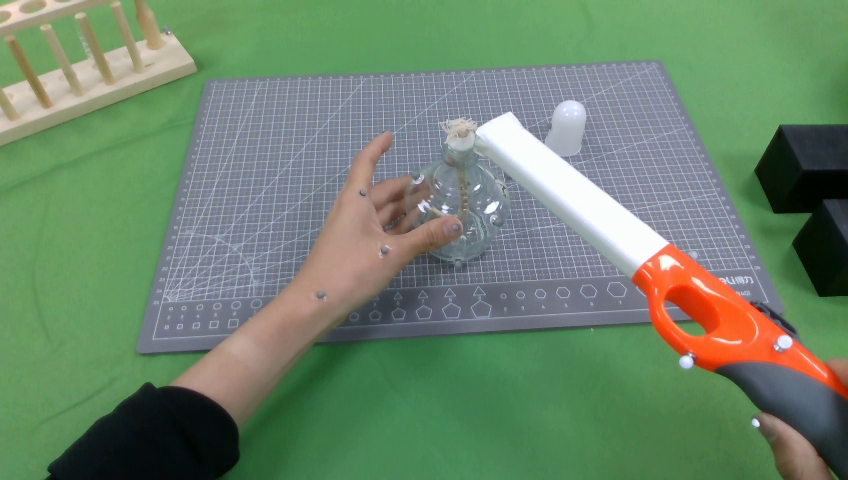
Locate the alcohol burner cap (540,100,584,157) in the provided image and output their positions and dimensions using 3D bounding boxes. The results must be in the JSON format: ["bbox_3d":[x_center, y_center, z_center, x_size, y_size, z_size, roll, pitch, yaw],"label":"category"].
[{"bbox_3d":[0.120,-0.098,0.518,0.034,0.048,0.033,1,51,-1],"label":"alcohol burner cap"}]

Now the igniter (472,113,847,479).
[{"bbox_3d":[0.126,0.020,0.320,0.057,0.025,0.274,-31,62,-25],"label":"igniter"}]

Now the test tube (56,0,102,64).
[{"bbox_3d":[-0.320,-0.225,0.529,0.017,0.151,0.017,-3,43,3],"label":"test tube"}]

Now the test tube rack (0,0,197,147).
[{"bbox_3d":[-0.344,-0.159,0.544,0.242,0.086,0.066,-29,57,-21],"label":"test tube rack"}]

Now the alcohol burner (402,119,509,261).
[{"bbox_3d":[0.023,-0.039,0.426,0.078,0.120,0.077,1,52,-1],"label":"alcohol burner"}]
